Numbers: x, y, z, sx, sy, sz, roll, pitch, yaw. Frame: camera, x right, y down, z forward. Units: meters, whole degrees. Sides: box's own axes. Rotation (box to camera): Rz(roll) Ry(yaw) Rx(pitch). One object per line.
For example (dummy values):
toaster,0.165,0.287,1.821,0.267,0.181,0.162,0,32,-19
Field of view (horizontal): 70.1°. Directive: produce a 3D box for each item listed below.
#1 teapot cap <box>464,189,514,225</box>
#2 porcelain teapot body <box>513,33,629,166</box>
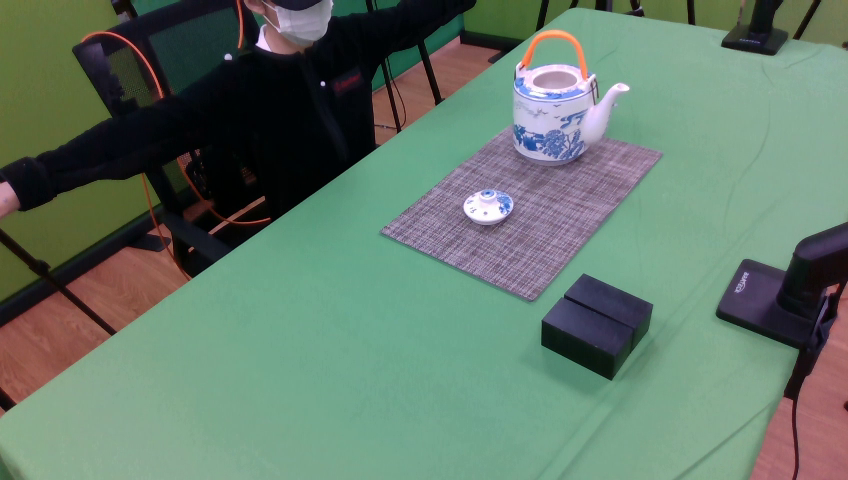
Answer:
teapot cap,0.108,-0.061,1.009,0.085,0.044,0.085,-2,39,2
porcelain teapot body,0.256,-0.248,1.065,0.204,0.226,0.145,18,47,28
